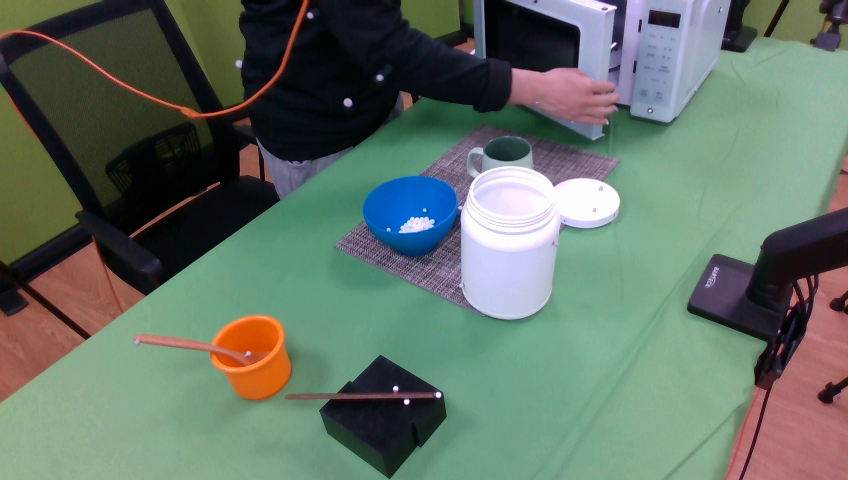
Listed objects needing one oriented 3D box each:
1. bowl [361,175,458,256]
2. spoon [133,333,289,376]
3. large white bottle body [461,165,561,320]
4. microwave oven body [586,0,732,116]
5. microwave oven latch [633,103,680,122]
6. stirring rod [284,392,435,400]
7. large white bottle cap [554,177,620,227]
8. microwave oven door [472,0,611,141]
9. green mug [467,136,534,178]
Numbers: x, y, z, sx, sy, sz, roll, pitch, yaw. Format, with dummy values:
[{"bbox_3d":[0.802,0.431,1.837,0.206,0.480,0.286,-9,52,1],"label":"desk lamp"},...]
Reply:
[{"bbox_3d":[-0.019,-0.028,0.955,0.151,0.077,0.150,-4,40,4],"label":"bowl"},{"bbox_3d":[-0.257,0.137,0.747,0.021,0.195,0.041,-48,40,22],"label":"spoon"},{"bbox_3d":[0.115,0.004,0.816,0.130,0.185,0.130,-2,43,2],"label":"large white bottle body"},{"bbox_3d":[0.377,-0.462,1.267,0.438,0.261,0.327,21,48,30],"label":"microwave oven body"},{"bbox_3d":[0.443,-0.249,1.157,0.078,0.029,0.030,21,49,30],"label":"microwave oven latch"},{"bbox_3d":[-0.075,0.180,0.698,0.176,0.006,0.014,-2,6,6],"label":"stirring rod"},{"bbox_3d":[0.265,-0.064,1.001,0.115,0.018,0.114,-1,43,1],"label":"large white bottle cap"},{"bbox_3d":[0.215,-0.366,1.171,0.039,0.245,0.352,-28,45,-22],"label":"microwave oven door"},{"bbox_3d":[0.126,-0.114,1.014,0.124,0.105,0.093,21,48,29],"label":"green mug"}]
